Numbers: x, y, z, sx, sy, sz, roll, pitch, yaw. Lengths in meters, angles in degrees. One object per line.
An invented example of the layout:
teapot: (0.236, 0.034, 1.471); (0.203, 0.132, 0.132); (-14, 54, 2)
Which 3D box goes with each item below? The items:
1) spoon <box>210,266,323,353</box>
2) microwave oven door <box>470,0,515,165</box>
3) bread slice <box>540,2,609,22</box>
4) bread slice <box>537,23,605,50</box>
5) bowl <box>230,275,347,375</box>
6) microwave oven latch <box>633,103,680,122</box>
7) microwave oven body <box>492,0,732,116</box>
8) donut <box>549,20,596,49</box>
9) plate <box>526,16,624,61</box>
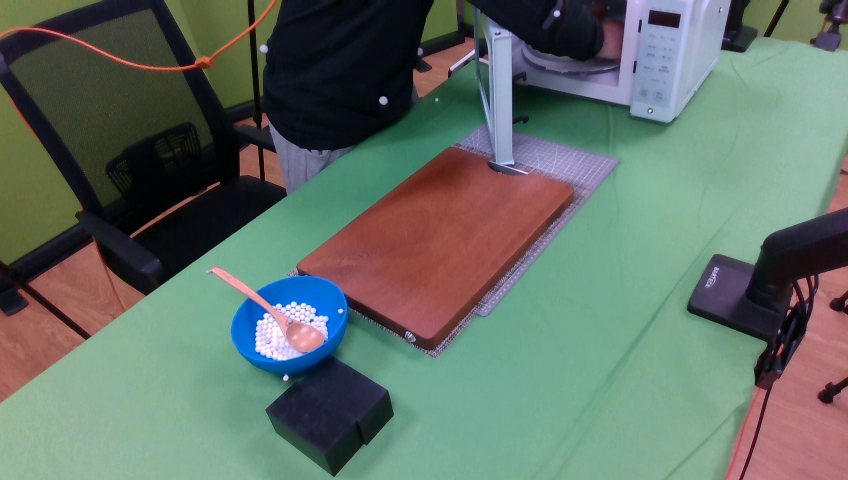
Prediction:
spoon: (-0.213, 0.088, 0.806); (0.193, 0.021, 0.042); (37, 55, 11)
microwave oven door: (0.127, -0.341, 1.153); (0.039, 0.245, 0.354); (-7, 41, 2)
bread slice: (0.324, -0.484, 1.282); (0.106, 0.018, 0.135); (24, 39, 36)
bread slice: (0.330, -0.454, 1.337); (0.132, 0.019, 0.104); (-19, 41, -15)
bowl: (-0.171, 0.125, 0.801); (0.151, 0.077, 0.150); (-4, 40, 4)
microwave oven latch: (0.443, -0.249, 1.157); (0.078, 0.029, 0.030); (21, 49, 30)
microwave oven body: (0.377, -0.462, 1.267); (0.438, 0.261, 0.327); (21, 49, 30)
donut: (0.317, -0.445, 1.297); (0.099, 0.048, 0.098); (-3, 45, 3)
plate: (0.329, -0.441, 1.328); (0.207, 0.039, 0.206); (-5, 39, 5)
